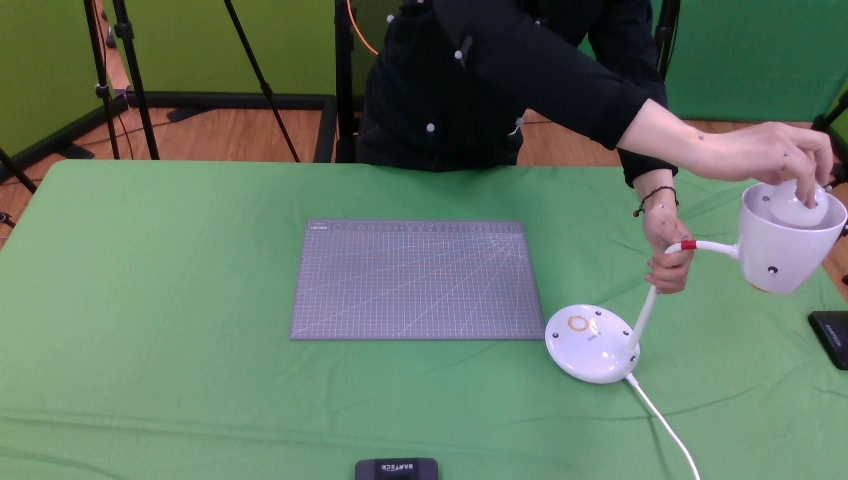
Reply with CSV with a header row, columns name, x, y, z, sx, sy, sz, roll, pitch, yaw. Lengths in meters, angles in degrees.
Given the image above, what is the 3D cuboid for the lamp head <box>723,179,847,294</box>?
name,x,y,z,sx,sy,sz,roll,pitch,yaw
lamp head,0.426,0.002,0.727,0.112,0.123,0.112,0,38,0

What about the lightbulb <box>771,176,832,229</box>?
name,x,y,z,sx,sy,sz,roll,pitch,yaw
lightbulb,0.432,-0.023,0.706,0.059,0.108,0.059,-2,36,2

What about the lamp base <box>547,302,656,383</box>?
name,x,y,z,sx,sy,sz,roll,pitch,yaw
lamp base,0.304,0.127,0.982,0.160,0.181,0.178,-33,59,-29
